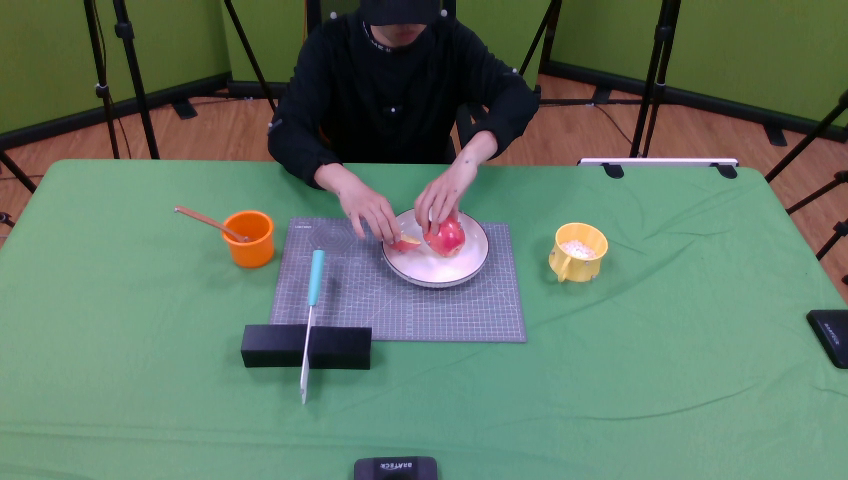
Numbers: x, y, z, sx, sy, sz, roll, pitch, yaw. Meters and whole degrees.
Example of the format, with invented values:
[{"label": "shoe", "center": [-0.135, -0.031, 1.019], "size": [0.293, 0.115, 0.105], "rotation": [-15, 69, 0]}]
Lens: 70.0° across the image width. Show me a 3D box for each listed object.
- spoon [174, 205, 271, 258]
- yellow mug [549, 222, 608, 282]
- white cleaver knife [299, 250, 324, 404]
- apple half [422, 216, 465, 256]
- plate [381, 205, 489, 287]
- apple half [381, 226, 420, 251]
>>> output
[{"label": "spoon", "center": [-0.362, -0.018, 1.098], "size": [0.021, 0.195, 0.041], "rotation": [-31, 43, 28]}, {"label": "yellow mug", "center": [0.287, 0.031, 1.159], "size": [0.099, 0.064, 0.130], "rotation": [27, 51, 21]}, {"label": "white cleaver knife", "center": [-0.194, 0.134, 1.019], "size": [0.021, 0.066, 0.284], "rotation": [5, 50, -5]}, {"label": "apple half", "center": [0.044, -0.013, 1.160], "size": [0.081, 0.053, 0.074], "rotation": [-13, 61, -45]}, {"label": "plate", "center": [0.021, 0.015, 1.170], "size": [0.209, 0.038, 0.208], "rotation": [2, 46, -2]}, {"label": "apple half", "center": [-0.047, 0.005, 1.133], "size": [0.081, 0.033, 0.081], "rotation": [23, 9, -4]}]
